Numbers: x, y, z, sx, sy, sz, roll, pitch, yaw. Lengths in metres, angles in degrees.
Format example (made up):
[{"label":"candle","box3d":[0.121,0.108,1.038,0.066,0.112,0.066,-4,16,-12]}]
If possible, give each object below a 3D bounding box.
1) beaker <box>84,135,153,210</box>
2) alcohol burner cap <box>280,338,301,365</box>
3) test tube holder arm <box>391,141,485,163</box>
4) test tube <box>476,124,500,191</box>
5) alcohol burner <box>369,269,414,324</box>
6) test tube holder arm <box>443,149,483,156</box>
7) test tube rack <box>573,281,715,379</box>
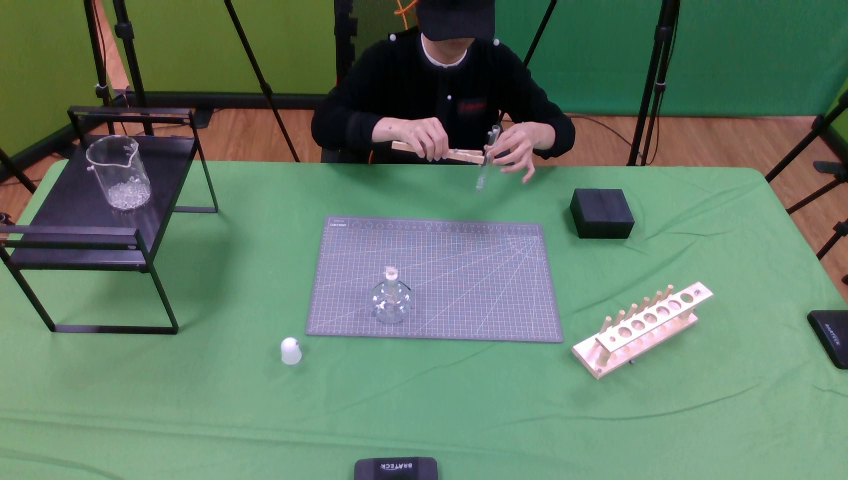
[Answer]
[{"label":"beaker","box3d":[-0.475,-0.102,0.957,0.083,0.101,0.074,34,53,26]},{"label":"alcohol burner cap","box3d":[-0.220,0.179,0.993,0.034,0.048,0.033,2,46,-2]},{"label":"test tube holder arm","box3d":[0.027,-0.168,1.155,0.178,0.015,0.013,9,28,-2]},{"label":"test tube","box3d":[0.123,-0.156,1.170,0.017,0.151,0.017,7,41,-6]},{"label":"alcohol burner","box3d":[-0.056,0.089,1.037,0.078,0.120,0.077,1,47,-1]},{"label":"test tube holder arm","box3d":[0.070,-0.166,1.165,0.088,0.015,0.010,1,31,-16]},{"label":"test tube rack","box3d":[0.378,0.140,1.038,0.242,0.085,0.066,-22,51,-23]}]
